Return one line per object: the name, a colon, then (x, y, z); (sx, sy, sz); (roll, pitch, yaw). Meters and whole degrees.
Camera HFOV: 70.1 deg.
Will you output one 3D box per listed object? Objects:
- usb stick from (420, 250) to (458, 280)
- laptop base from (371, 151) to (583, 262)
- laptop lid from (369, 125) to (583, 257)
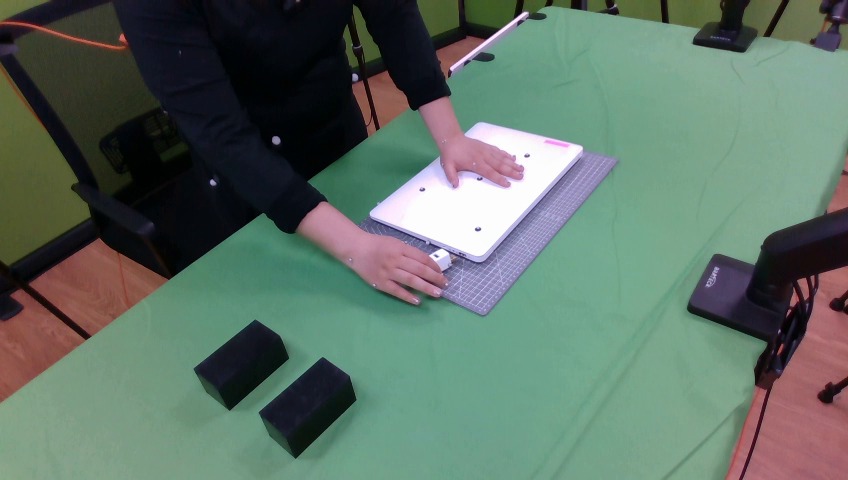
usb stick: (0.024, 0.034, 0.910); (0.059, 0.027, 0.021); (-28, 36, -23)
laptop base: (0.101, -0.095, 1.072); (0.233, 0.023, 0.355); (19, 46, 33)
laptop lid: (0.098, -0.104, 1.066); (0.239, 0.013, 0.358); (21, 47, 34)
